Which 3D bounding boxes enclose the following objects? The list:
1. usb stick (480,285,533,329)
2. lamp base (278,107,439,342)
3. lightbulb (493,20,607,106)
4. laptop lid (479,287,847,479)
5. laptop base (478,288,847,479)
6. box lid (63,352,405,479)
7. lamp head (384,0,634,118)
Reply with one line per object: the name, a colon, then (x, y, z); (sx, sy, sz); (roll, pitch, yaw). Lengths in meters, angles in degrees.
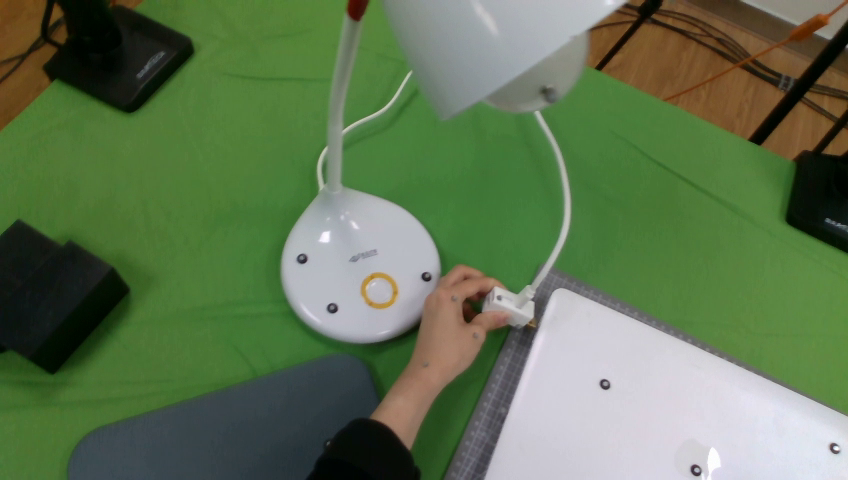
usb stick: (0.085, 0.068, 0.592); (0.059, 0.027, 0.021); (26, 43, -18)
lamp base: (-0.062, -0.019, 0.544); (0.161, 0.181, 0.178); (-30, 68, -21)
lightbulb: (0.048, -0.114, 0.268); (0.060, 0.059, 0.108); (-12, 105, -14)
laptop lid: (0.243, 0.210, 0.554); (0.356, 0.013, 0.240); (26, 65, 5)
laptop base: (0.243, 0.213, 0.566); (0.354, 0.023, 0.234); (24, 66, 4)
box lid: (-0.120, 0.287, 0.476); (0.264, 0.015, 0.368); (-16, 68, -16)
lamp head: (0.022, -0.132, 0.272); (0.112, 0.112, 0.123); (-40, 98, -24)
